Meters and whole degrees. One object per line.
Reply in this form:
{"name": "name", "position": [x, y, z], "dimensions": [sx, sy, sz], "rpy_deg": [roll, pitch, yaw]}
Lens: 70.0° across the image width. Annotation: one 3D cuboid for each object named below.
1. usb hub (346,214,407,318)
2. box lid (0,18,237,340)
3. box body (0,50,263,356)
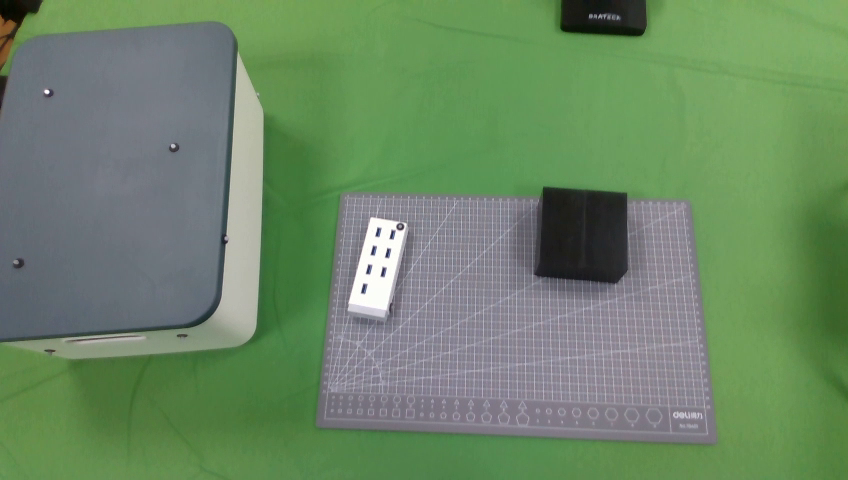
{"name": "usb hub", "position": [-0.057, 0.031, 0.746], "dimensions": [0.049, 0.025, 0.124], "rpy_deg": [11, 71, 6]}
{"name": "box lid", "position": [-0.338, -0.078, 0.648], "dimensions": [0.263, 0.015, 0.368], "rpy_deg": [-5, 69, 1]}
{"name": "box body", "position": [-0.334, -0.052, 0.718], "dimensions": [0.254, 0.161, 0.361], "rpy_deg": [-5, 69, 0]}
